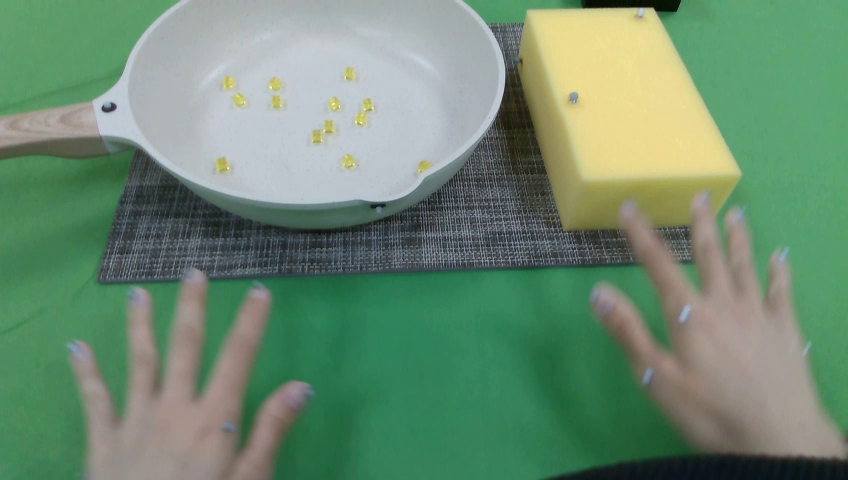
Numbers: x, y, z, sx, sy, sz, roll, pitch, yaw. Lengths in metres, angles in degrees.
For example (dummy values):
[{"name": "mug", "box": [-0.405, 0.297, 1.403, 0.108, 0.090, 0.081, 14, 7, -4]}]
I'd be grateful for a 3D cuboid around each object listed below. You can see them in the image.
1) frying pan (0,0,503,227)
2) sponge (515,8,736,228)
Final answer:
[{"name": "frying pan", "box": [-0.178, -0.100, 0.456, 0.489, 0.103, 0.303, -14, 55, -23]}, {"name": "sponge", "box": [0.155, -0.109, 0.507, 0.118, 0.061, 0.204, -3, 54, -5]}]
